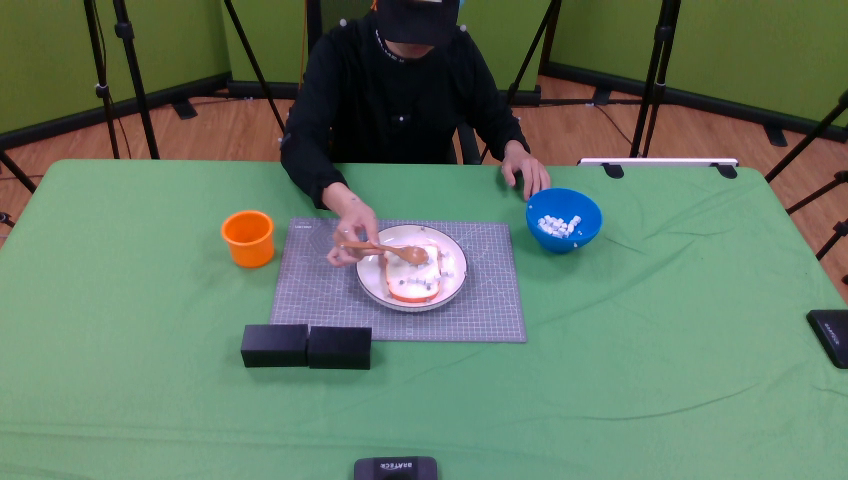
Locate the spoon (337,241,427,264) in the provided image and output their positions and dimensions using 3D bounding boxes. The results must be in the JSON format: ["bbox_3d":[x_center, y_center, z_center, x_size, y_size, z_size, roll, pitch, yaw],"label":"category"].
[{"bbox_3d":[-0.071,0.016,1.068,0.195,0.021,0.041,13,44,-43],"label":"spoon"}]

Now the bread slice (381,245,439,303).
[{"bbox_3d":[-0.022,0.061,1.126,0.107,0.018,0.133,-3,45,-8],"label":"bread slice"}]

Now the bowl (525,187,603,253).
[{"bbox_3d":[0.271,-0.028,1.207,0.151,0.077,0.150,2,46,-2],"label":"bowl"}]

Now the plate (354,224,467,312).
[{"bbox_3d":[-0.025,0.055,1.128,0.209,0.038,0.208,3,46,-2],"label":"plate"}]
